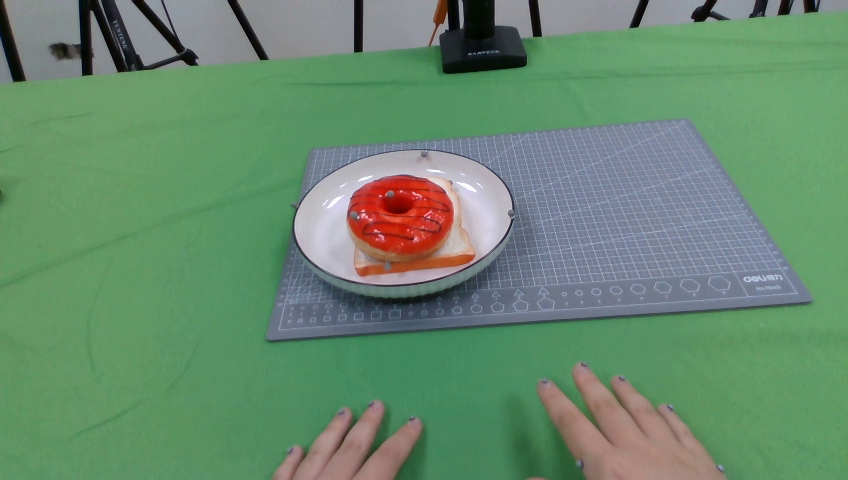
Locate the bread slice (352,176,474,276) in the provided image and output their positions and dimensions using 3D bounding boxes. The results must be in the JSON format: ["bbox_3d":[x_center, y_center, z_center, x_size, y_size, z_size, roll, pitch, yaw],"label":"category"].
[{"bbox_3d":[-0.018,-0.017,0.581,0.107,0.018,0.133,-8,41,-5],"label":"bread slice"}]

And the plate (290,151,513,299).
[{"bbox_3d":[-0.020,-0.015,0.576,0.209,0.038,0.207,-3,40,3],"label":"plate"}]

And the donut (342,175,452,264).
[{"bbox_3d":[-0.023,-0.019,0.539,0.099,0.049,0.098,-1,44,1],"label":"donut"}]
